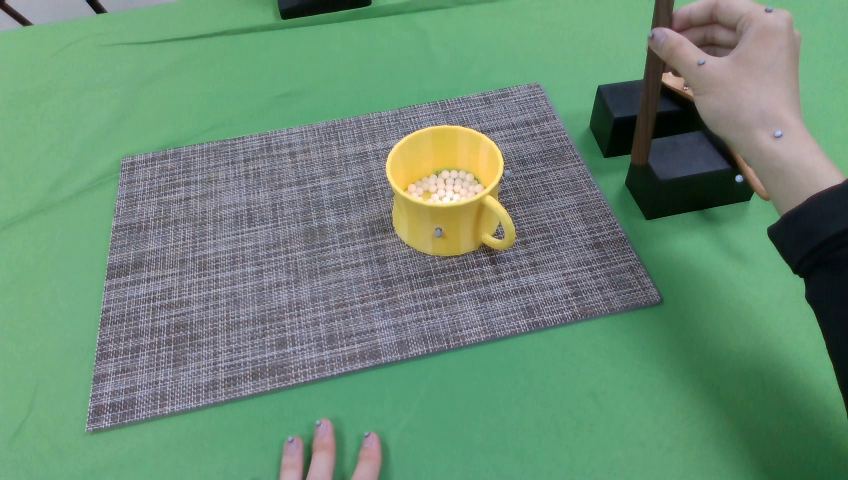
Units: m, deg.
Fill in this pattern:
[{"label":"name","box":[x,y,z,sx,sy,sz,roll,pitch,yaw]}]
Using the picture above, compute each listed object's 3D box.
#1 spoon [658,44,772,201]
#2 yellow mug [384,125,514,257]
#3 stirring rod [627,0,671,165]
[{"label":"spoon","box":[0.254,-0.110,0.541,0.042,0.022,0.191,-11,53,-7]},{"label":"yellow mug","box":[0.028,-0.036,0.524,0.100,0.064,0.129,-38,59,-24]},{"label":"stirring rod","box":[0.173,-0.141,0.459,0.014,0.177,0.006,16,32,28]}]
